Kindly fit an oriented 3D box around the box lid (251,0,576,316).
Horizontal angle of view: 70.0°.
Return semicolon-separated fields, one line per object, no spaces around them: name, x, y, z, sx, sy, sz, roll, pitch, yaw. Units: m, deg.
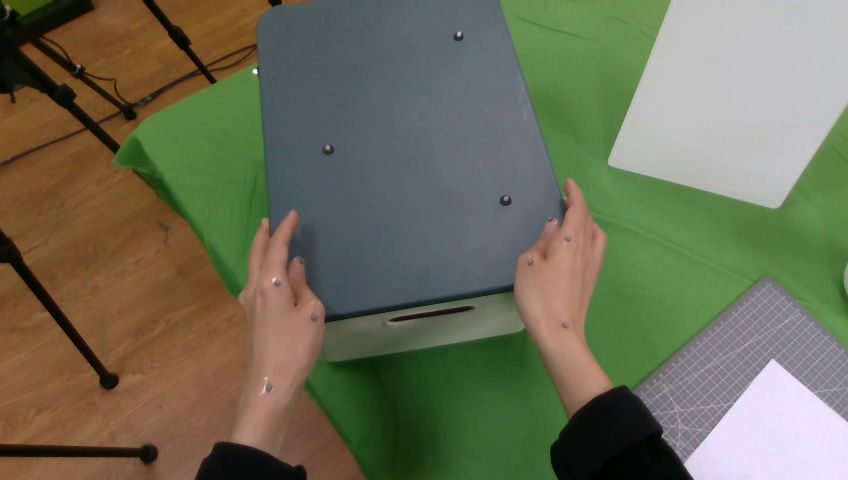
box lid;-0.025;-0.116;0.583;0.263;0.015;0.368;-9;64;-6

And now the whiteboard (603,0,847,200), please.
whiteboard;0.368;-0.230;0.706;0.217;0.308;0.143;16;44;7

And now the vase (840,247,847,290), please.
vase;0.525;0.001;0.618;0.098;0.201;0.097;1;61;-1

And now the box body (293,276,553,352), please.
box body;-0.027;-0.077;0.657;0.254;0.161;0.360;-9;63;-6
